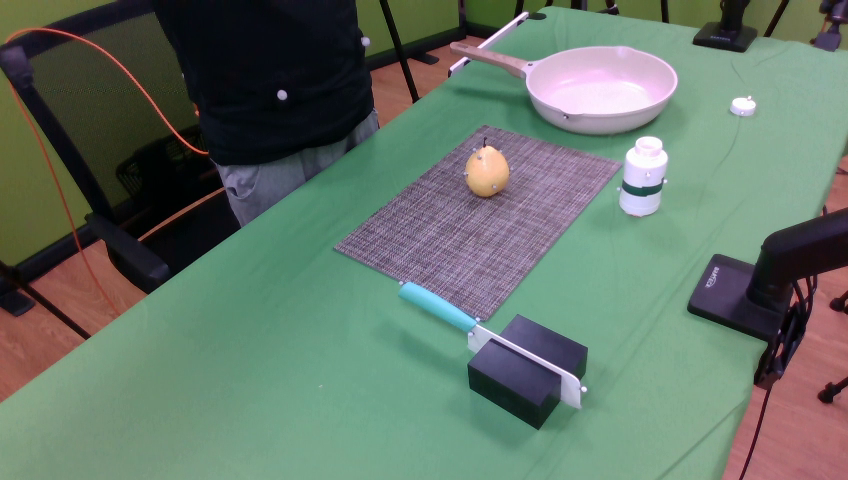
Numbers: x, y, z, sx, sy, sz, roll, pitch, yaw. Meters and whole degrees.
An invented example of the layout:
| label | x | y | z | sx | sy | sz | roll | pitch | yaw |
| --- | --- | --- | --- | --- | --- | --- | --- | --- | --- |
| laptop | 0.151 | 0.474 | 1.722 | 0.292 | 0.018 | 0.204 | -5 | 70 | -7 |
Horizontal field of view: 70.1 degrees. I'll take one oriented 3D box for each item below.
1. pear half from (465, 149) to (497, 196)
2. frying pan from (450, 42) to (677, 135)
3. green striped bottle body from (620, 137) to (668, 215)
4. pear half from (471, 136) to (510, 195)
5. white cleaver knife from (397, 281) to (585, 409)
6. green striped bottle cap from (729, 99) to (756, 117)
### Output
| label | x | y | z | sx | sy | sz | roll | pitch | yaw |
| --- | --- | --- | --- | --- | --- | --- | --- | --- | --- |
| pear half | 0.091 | -0.110 | 1.025 | 0.070 | 0.088 | 0.031 | 30 | 52 | 30 |
| frying pan | 0.268 | -0.344 | 1.266 | 0.485 | 0.103 | 0.307 | 26 | 49 | 21 |
| green striped bottle body | 0.350 | -0.103 | 0.963 | 0.063 | 0.120 | 0.063 | -4 | 41 | 4 |
| pear half | 0.115 | -0.136 | 1.036 | 0.076 | 0.110 | 0.056 | 31 | 53 | 30 |
| white cleaver knife | 0.074 | 0.131 | 0.770 | 0.284 | 0.066 | 0.021 | 27 | 45 | 31 |
| green striped bottle cap | 0.623 | -0.259 | 1.182 | 0.044 | 0.020 | 0.044 | -3 | 40 | 3 |
